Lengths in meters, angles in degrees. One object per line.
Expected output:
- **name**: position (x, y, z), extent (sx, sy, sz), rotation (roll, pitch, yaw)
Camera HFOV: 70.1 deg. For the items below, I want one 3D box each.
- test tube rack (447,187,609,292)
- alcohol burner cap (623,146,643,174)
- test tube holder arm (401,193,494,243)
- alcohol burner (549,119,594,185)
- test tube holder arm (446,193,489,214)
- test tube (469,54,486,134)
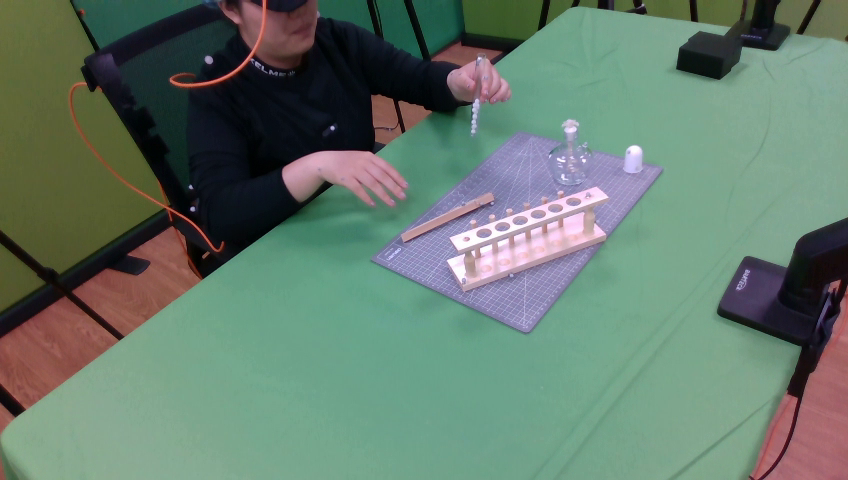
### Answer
- **test tube rack**: position (0.155, -0.011, 0.913), extent (0.243, 0.085, 0.066), rotation (-19, 41, -11)
- **alcohol burner cap**: position (0.369, -0.143, 1.061), extent (0.034, 0.048, 0.033), rotation (-7, 40, 6)
- **test tube holder arm**: position (0.042, -0.038, 1.018), extent (0.179, 0.015, 0.013), rotation (-26, 9, -19)
- **alcohol burner**: position (0.254, -0.155, 1.043), extent (0.078, 0.120, 0.077), rotation (-7, 40, 6)
- **test tube holder arm**: position (0.078, -0.058, 1.037), extent (0.088, 0.015, 0.010), rotation (-26, 9, -18)
- **test tube**: position (0.090, -0.244, 1.025), extent (0.017, 0.150, 0.017), rotation (1, 44, -1)
